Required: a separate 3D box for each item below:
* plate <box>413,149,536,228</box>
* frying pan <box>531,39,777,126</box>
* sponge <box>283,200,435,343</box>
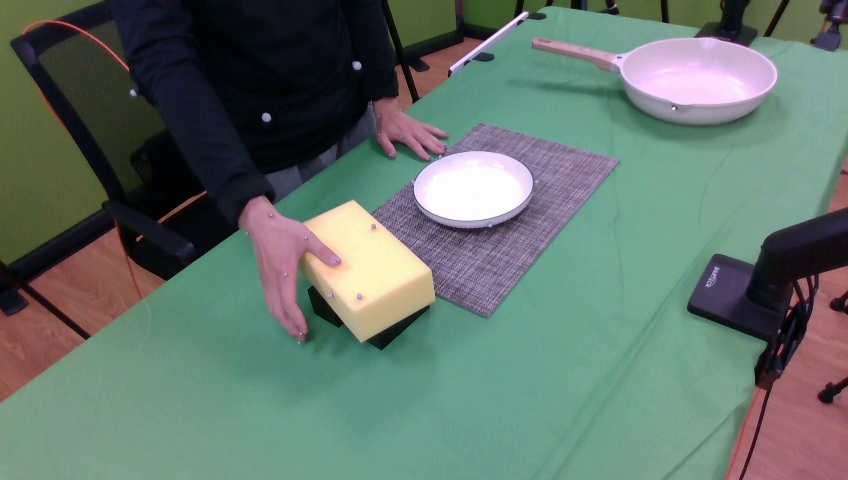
[{"bbox_3d":[0.086,-0.085,1.038,0.207,0.039,0.206,-4,40,4],"label":"plate"},{"bbox_3d":[0.452,-0.354,1.254,0.485,0.103,0.307,22,47,19],"label":"frying pan"},{"bbox_3d":[-0.093,0.035,0.835,0.119,0.061,0.205,-29,45,-23],"label":"sponge"}]
